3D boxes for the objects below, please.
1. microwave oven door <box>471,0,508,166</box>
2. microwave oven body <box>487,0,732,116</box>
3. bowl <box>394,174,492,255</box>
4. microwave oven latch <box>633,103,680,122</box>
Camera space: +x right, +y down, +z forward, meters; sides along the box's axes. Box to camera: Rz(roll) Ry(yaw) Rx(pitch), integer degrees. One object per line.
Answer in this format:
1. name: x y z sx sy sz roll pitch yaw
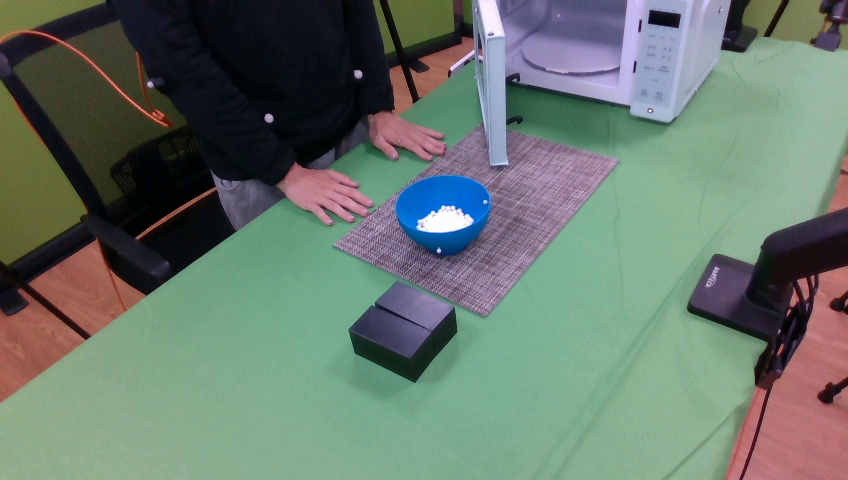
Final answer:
1. microwave oven door: 0.122 -0.340 1.153 0.039 0.245 0.354 -5 40 3
2. microwave oven body: 0.377 -0.462 1.267 0.438 0.261 0.327 21 48 30
3. bowl: 0.032 -0.030 0.949 0.151 0.077 0.150 -4 40 4
4. microwave oven latch: 0.443 -0.249 1.157 0.078 0.029 0.030 21 48 30
